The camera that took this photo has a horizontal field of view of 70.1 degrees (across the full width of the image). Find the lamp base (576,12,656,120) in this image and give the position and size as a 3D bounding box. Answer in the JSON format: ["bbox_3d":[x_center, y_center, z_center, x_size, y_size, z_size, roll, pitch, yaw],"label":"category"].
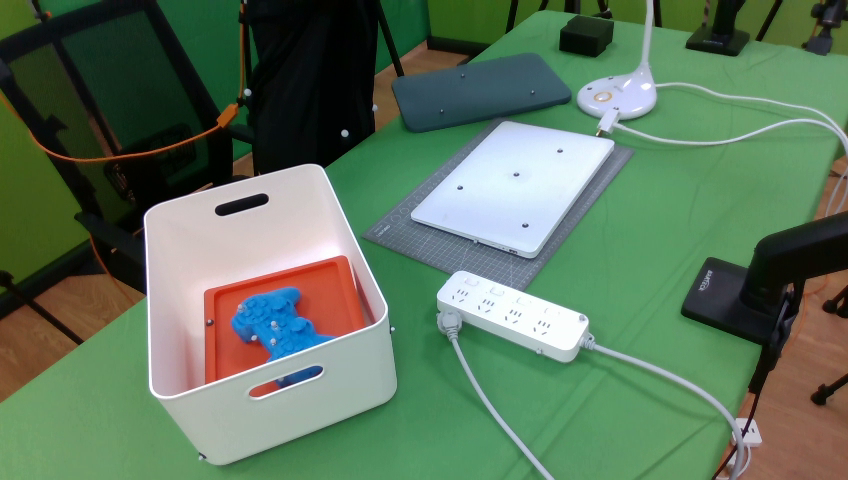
[{"bbox_3d":[0.403,-0.359,1.218,0.180,0.181,0.159,-24,43,-23],"label":"lamp base"}]

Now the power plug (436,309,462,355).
[{"bbox_3d":[0.032,0.126,0.809,0.035,0.053,0.072,3,59,7],"label":"power plug"}]

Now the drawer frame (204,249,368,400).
[{"bbox_3d":[-0.174,0.129,0.790,0.202,0.083,0.212,-16,45,-8],"label":"drawer frame"}]

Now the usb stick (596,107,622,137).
[{"bbox_3d":[0.355,-0.223,1.168,0.027,0.059,0.022,37,14,34],"label":"usb stick"}]

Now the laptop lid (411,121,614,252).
[{"bbox_3d":[0.164,-0.112,1.068,0.240,0.013,0.357,19,46,30],"label":"laptop lid"}]

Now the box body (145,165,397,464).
[{"bbox_3d":[-0.205,0.080,0.802,0.255,0.161,0.361,-18,41,-13],"label":"box body"}]

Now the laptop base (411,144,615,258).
[{"bbox_3d":[0.167,-0.102,1.074,0.234,0.023,0.355,16,45,30],"label":"laptop base"}]

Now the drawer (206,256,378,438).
[{"bbox_3d":[-0.177,0.130,0.787,0.195,0.073,0.210,-14,39,-9],"label":"drawer"}]

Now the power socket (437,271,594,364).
[{"bbox_3d":[0.118,0.102,0.830,0.225,0.033,0.072,20,48,28],"label":"power socket"}]

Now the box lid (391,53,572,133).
[{"bbox_3d":[0.122,-0.339,1.366,0.372,0.015,0.261,-12,40,-5],"label":"box lid"}]

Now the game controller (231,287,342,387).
[{"bbox_3d":[-0.167,0.110,0.734,0.097,0.052,0.154,-35,47,-22],"label":"game controller"}]
